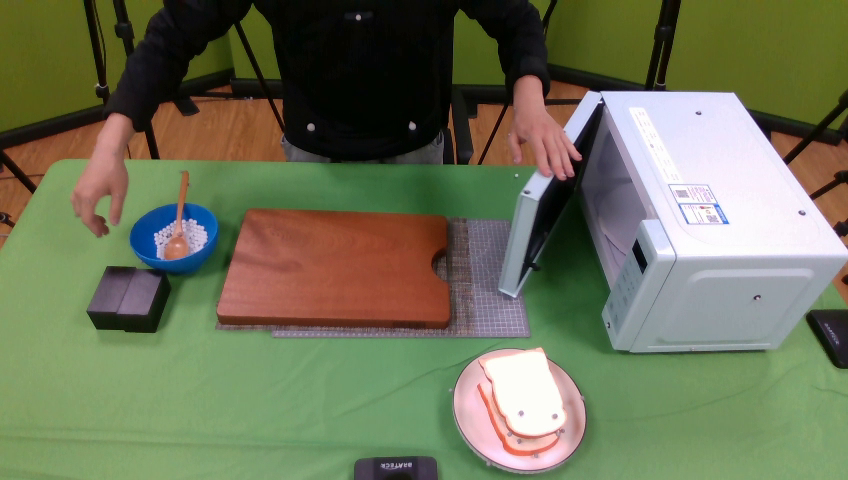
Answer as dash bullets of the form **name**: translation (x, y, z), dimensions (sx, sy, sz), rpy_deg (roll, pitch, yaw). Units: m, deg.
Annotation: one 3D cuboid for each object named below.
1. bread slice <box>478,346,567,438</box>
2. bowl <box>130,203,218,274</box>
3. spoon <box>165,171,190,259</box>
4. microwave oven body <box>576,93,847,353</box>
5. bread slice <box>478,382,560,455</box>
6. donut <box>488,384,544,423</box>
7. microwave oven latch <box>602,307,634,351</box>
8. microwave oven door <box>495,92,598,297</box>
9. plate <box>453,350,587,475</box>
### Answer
- **bread slice**: translation (0.152, 0.227, 0.901), dimensions (0.107, 0.018, 0.133), rpy_deg (-11, 54, -16)
- **bowl**: translation (-0.450, 0.009, 1.117), dimensions (0.151, 0.077, 0.150), rpy_deg (2, 45, -2)
- **spoon**: translation (-0.452, -0.046, 1.129), dimensions (0.041, 0.022, 0.193), rpy_deg (-3, 69, 2)
- **microwave oven body**: translation (0.475, -0.041, 1.109), dimensions (0.326, 0.261, 0.438), rpy_deg (-1, 45, -4)
- **bread slice**: translation (0.154, 0.268, 0.944), dimensions (0.105, 0.019, 0.130), rpy_deg (-10, 47, -12)
- **donut**: translation (0.147, 0.242, 0.928), dimensions (0.099, 0.048, 0.098), rpy_deg (-3, 40, 3)
- **microwave oven latch**: translation (0.332, 0.153, 1.044), dimensions (0.030, 0.029, 0.078), rpy_deg (0, 45, -4)
- **microwave oven door**: translation (0.236, -0.092, 1.133), dimensions (0.039, 0.245, 0.355), rpy_deg (23, 49, 17)
- **plate**: translation (0.146, 0.267, 0.943), dimensions (0.208, 0.039, 0.206), rpy_deg (2, 46, -2)
